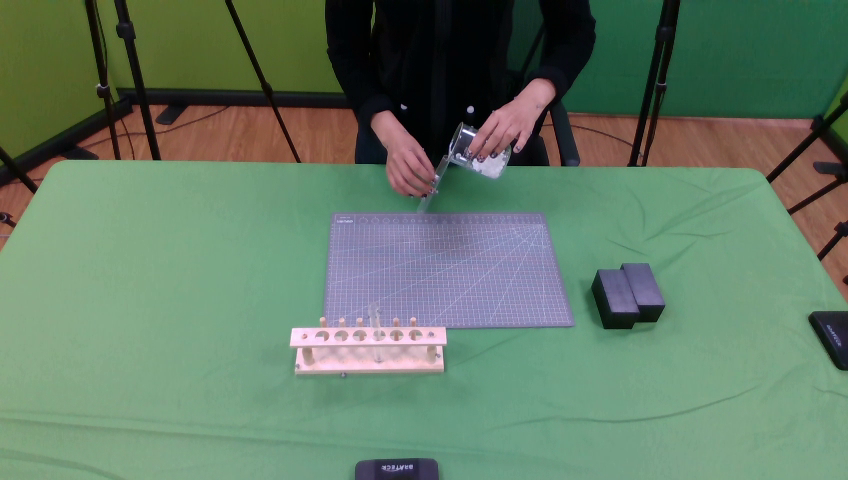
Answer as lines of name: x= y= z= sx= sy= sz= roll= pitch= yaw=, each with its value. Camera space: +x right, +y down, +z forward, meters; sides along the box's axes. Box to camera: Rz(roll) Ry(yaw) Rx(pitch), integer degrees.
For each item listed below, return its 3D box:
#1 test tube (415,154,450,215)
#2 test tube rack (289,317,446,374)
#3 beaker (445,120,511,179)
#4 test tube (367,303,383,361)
test tube: x=0.015 y=-0.102 z=1.144 sx=0.017 sy=0.151 sz=0.017 roll=15 pitch=43 yaw=-15
test tube rack: x=-0.089 y=0.167 z=0.987 sx=0.242 sy=0.085 sz=0.066 roll=0 pitch=46 yaw=-4
beaker: x=0.096 y=-0.155 z=1.072 sx=0.100 sy=0.084 sz=0.073 roll=22 pitch=52 yaw=-7
test tube: x=-0.075 y=0.146 z=0.941 sx=0.017 sy=0.151 sz=0.017 roll=0 pitch=49 yaw=0
